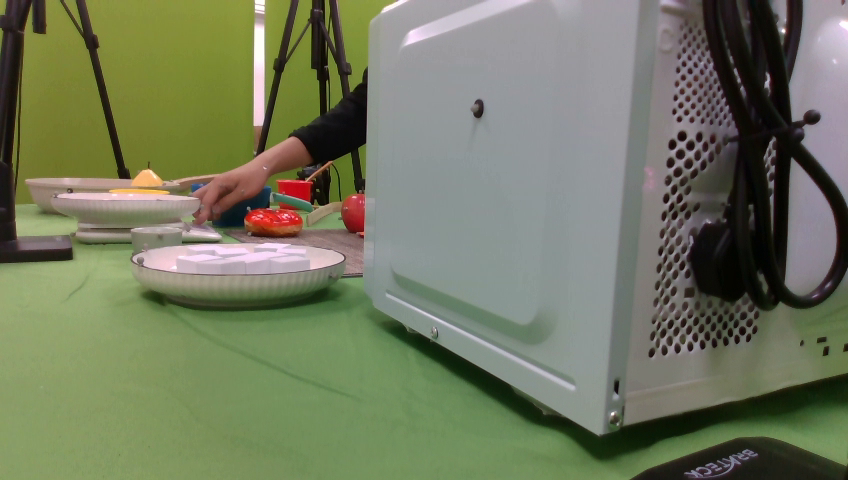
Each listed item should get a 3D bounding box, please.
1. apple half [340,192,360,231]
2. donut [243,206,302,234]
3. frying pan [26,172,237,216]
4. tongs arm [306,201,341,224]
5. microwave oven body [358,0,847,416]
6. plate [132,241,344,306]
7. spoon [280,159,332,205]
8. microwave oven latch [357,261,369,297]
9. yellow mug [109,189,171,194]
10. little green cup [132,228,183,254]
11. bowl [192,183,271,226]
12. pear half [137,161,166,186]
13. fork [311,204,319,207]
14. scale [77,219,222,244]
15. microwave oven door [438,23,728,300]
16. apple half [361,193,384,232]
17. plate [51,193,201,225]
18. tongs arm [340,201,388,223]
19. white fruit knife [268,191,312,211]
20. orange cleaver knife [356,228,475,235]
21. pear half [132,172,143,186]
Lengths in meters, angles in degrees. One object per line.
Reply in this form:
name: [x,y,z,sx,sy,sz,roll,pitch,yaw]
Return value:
apple half: [-0.130,-0.054,1.143,0.053,0.074,0.081,0,11,12]
donut: [-0.261,-0.032,1.042,0.099,0.048,0.099,3,8,0]
frying pan: [-0.624,-0.118,1.387,0.305,0.102,0.490,8,17,32]
tongs arm: [-0.235,-0.067,1.414,0.028,0.028,0.387,-5,7,1]
microwave oven body: [0.211,-0.047,0.474,0.444,0.260,0.324,-1,7,-28]
plate: [-0.187,0.033,0.625,0.208,0.039,0.207,2,7,0]
spoon: [-0.317,-0.159,1.640,0.194,0.022,0.041,-49,32,-20]
microwave oven latch: [-0.019,0.033,0.530,0.079,0.029,0.030,-1,7,-26]
yellow mug: [-0.519,-0.055,1.080,0.099,0.064,0.131,7,10,26]
little green cup: [-0.342,0.006,0.779,0.061,0.038,0.061,2,8,0]
bowl: [-0.382,-0.071,1.202,0.151,0.077,0.151,3,7,0]
pear half: [-0.602,-0.120,1.354,0.056,0.110,0.076,4,11,6]
fork: [-0.356,-0.105,1.526,0.208,0.018,0.028,16,-5,-41]
scale: [-0.434,-0.019,0.963,0.202,0.031,0.148,-1,9,-26]
microwave oven door: [0.181,-0.073,0.621,0.358,0.243,0.039,-2,8,-29]
apple half: [-0.092,-0.053,1.135,0.033,0.081,0.081,0,7,13]
plate: [-0.460,-0.050,0.945,0.209,0.038,0.209,2,7,0]
tongs arm: [-0.149,-0.069,1.429,0.051,0.026,0.383,-4,8,-15]
white fruit knife: [-0.364,-0.105,1.464,0.208,0.027,0.016,15,0,-34]
orange cleaver knife: [-0.017,-0.015,1.080,0.211,0.012,0.077,0,2,-2]
pear half: [-0.638,-0.113,1.361,0.031,0.088,0.070,5,10,4]
